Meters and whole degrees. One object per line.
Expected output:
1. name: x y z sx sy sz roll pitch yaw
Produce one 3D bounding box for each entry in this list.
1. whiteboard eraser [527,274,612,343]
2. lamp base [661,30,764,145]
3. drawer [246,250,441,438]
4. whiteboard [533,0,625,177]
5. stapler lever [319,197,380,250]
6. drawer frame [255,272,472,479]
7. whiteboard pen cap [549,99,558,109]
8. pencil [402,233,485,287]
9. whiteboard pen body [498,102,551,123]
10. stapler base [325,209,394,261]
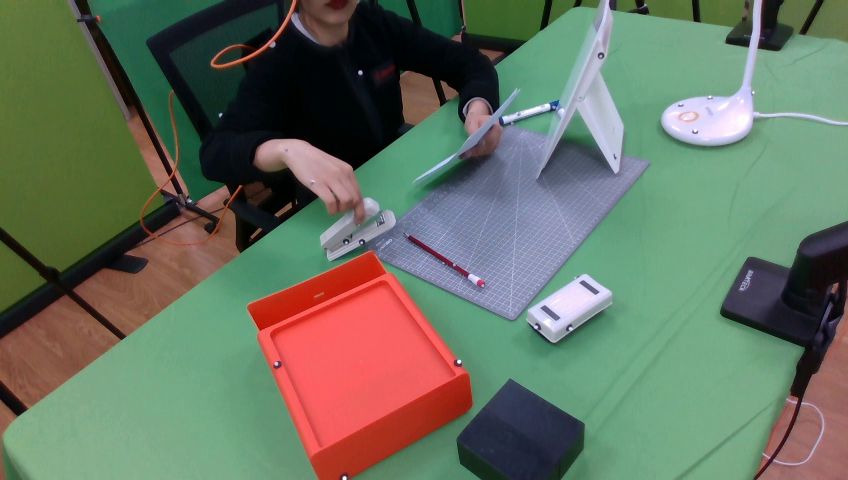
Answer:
1. whiteboard eraser: 0.198 0.094 0.820 0.113 0.042 0.055 -30 43 -22
2. lamp base: 0.535 -0.287 1.096 0.179 0.181 0.159 -10 40 -4
3. drawer: -0.109 0.129 0.804 0.195 0.073 0.210 -23 42 -18
4. whiteboard: 0.321 -0.258 1.049 0.144 0.306 0.217 20 45 4
5. stapler lever: -0.123 -0.028 0.965 0.118 0.040 0.026 -30 43 10
6. drawer frame: -0.079 0.161 0.760 0.202 0.083 0.211 -24 43 -18
7. whiteboard pen cap: 0.275 -0.286 1.267 0.033 0.018 0.018 -17 41 -12
8. pencil: 0.026 0.028 0.949 0.012 0.012 0.192 -34 44 -26
9. whiteboard pen body: 0.220 -0.268 1.256 0.141 0.017 0.017 -19 41 -12
10. stapler base: -0.110 -0.014 0.983 0.130 0.024 0.041 -29 43 10
